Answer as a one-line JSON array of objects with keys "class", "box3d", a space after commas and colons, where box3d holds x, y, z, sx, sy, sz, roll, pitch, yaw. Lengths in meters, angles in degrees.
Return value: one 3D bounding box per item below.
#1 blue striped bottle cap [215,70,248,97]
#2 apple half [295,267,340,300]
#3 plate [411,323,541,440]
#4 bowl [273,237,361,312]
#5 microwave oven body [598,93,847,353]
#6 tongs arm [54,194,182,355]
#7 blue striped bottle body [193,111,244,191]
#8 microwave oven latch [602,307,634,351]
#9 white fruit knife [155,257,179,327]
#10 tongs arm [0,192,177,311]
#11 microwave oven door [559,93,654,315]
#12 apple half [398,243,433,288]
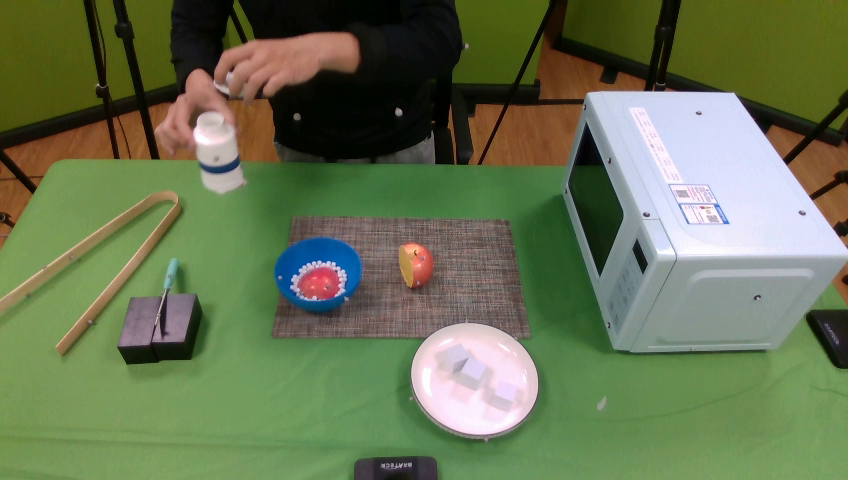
[{"class": "blue striped bottle cap", "box3d": [-0.275, -0.224, 0.867, 0.045, 0.020, 0.044, 26, 25, -13]}, {"class": "apple half", "box3d": [-0.187, 0.070, 1.067, 0.081, 0.033, 0.081, 2, 47, -2]}, {"class": "plate", "box3d": [0.082, 0.228, 0.976, 0.208, 0.039, 0.206, 2, 45, -2]}, {"class": "bowl", "box3d": [-0.186, 0.075, 1.070, 0.151, 0.077, 0.150, 3, 45, -3]}, {"class": "microwave oven body", "box3d": [0.475, -0.041, 1.109, 0.326, 0.261, 0.438, -1, 45, -4]}, {"class": "tongs arm", "box3d": [-0.544, 0.049, 1.108, 0.028, 0.028, 0.385, 11, 46, 9]}, {"class": "blue striped bottle body", "box3d": [-0.321, -0.141, 0.945, 0.063, 0.121, 0.062, 3, 46, -3]}, {"class": "microwave oven latch", "box3d": [0.332, 0.153, 1.044, 0.030, 0.029, 0.078, -1, 45, -4]}, {"class": "white fruit knife", "box3d": [-0.440, 0.085, 1.037, 0.016, 0.027, 0.206, 10, 26, -19]}, {"class": "tongs arm", "box3d": [-0.618, 0.019, 1.124, 0.050, 0.026, 0.384, 24, 47, 16]}, {"class": "microwave oven door", "box3d": [0.327, -0.074, 1.123, 0.039, 0.245, 0.353, 0, 46, -5]}, {"class": "apple half", "box3d": [-0.012, 0.046, 1.115, 0.053, 0.075, 0.080, -11, 44, -19]}]
